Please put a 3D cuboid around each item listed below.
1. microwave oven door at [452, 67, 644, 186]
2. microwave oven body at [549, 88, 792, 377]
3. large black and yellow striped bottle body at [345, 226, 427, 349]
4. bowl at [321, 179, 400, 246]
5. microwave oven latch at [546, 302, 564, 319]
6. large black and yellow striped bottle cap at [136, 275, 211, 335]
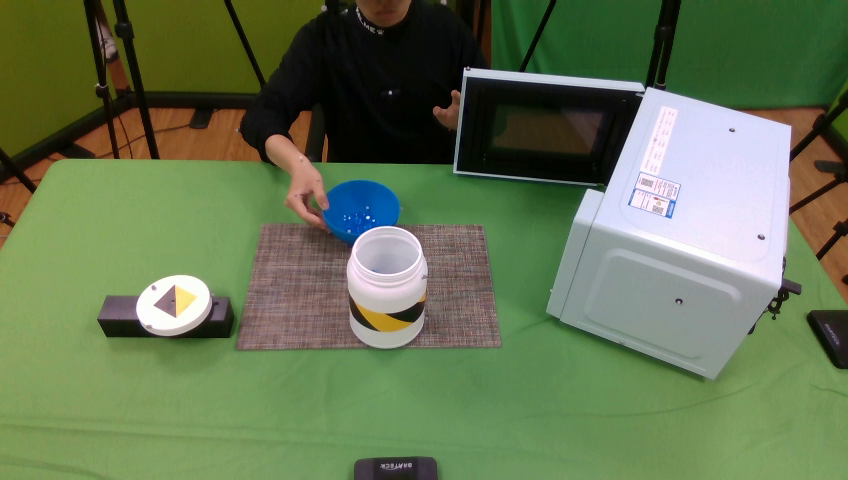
[{"bbox_3d":[0.246,-0.230,1.260,0.356,0.245,0.039,5,46,1],"label":"microwave oven door"},{"bbox_3d":[0.456,-0.028,1.088,0.325,0.261,0.440,20,47,16],"label":"microwave oven body"},{"bbox_3d":[-0.062,0.078,0.998,0.131,0.185,0.130,2,46,-2],"label":"large black and yellow striped bottle body"},{"bbox_3d":[-0.124,-0.039,1.179,0.151,0.077,0.150,3,48,-3],"label":"bowl"},{"bbox_3d":[0.242,0.102,1.081,0.030,0.029,0.079,21,48,17],"label":"microwave oven latch"},{"bbox_3d":[-0.412,0.105,0.999,0.115,0.019,0.114,3,46,-3],"label":"large black and yellow striped bottle cap"}]
